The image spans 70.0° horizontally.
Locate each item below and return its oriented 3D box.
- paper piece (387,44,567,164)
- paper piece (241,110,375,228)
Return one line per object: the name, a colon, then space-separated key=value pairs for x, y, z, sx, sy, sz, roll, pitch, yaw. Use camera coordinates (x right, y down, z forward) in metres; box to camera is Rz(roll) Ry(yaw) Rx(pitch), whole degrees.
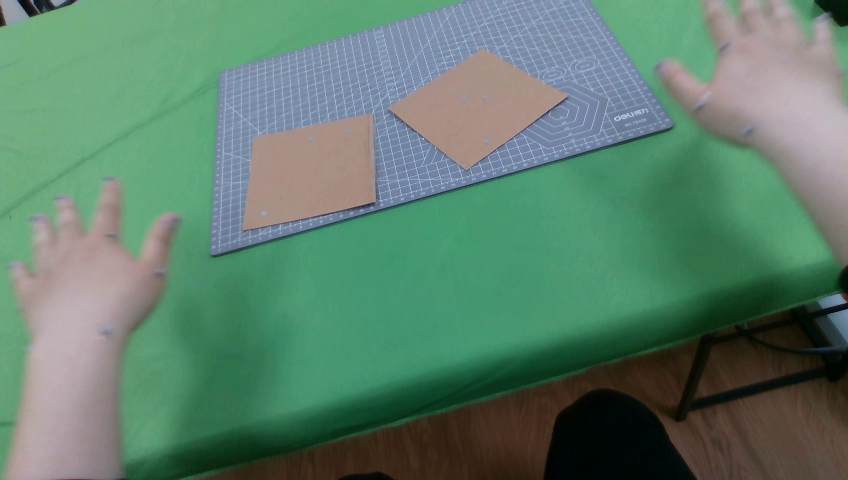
paper piece: x=0.052 y=-0.147 z=0.627 sx=0.135 sy=0.004 sz=0.134 roll=-36 pitch=54 yaw=-14
paper piece: x=-0.117 y=-0.077 z=0.617 sx=0.138 sy=0.009 sz=0.134 roll=-11 pitch=49 yaw=7
